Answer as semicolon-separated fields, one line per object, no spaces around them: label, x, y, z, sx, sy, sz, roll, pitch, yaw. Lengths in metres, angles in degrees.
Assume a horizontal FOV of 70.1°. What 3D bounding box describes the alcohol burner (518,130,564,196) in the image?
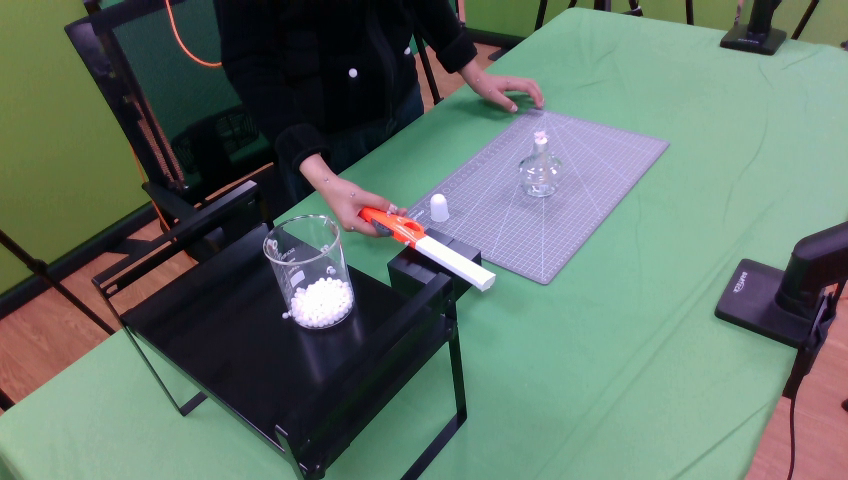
alcohol burner;0.199;-0.135;1.027;0.078;0.119;0.077;-5;42;5

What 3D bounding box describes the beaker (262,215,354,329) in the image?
beaker;-0.112;0.034;0.616;0.073;0.101;0.084;13;44;23

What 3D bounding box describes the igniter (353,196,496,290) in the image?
igniter;-0.011;-0.003;0.896;0.274;0.025;0.057;31;40;31

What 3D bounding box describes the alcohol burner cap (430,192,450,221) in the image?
alcohol burner cap;0.025;-0.059;1.020;0.034;0.048;0.033;-4;41;4
